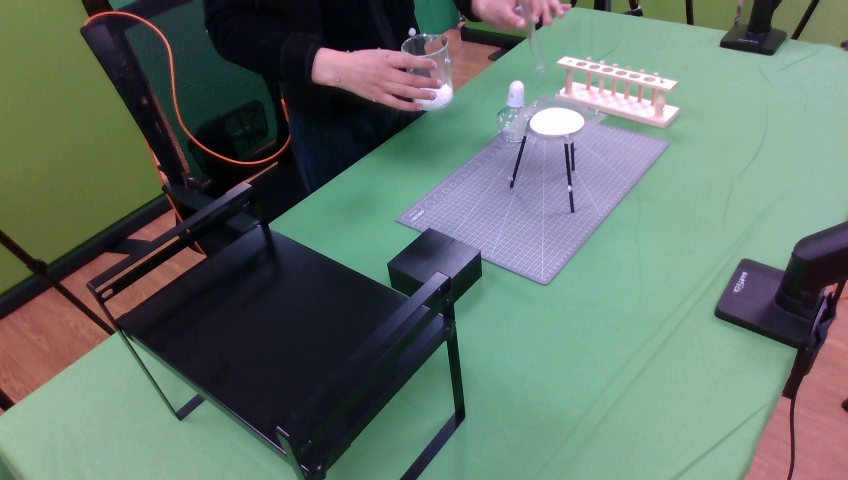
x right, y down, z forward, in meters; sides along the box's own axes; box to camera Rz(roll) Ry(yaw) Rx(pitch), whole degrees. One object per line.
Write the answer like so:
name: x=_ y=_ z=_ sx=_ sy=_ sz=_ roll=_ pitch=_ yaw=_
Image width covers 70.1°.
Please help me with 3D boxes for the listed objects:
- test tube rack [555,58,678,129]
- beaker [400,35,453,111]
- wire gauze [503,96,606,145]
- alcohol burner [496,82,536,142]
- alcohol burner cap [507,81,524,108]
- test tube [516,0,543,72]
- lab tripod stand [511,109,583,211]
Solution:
test tube rack: x=0.389 y=-0.307 z=1.229 sx=0.240 sy=0.085 sz=0.067 roll=25 pitch=50 yaw=33
beaker: x=0.008 y=-0.267 z=0.968 sx=0.074 sy=0.101 sz=0.084 roll=3 pitch=46 yaw=15
wire gauze: x=0.211 y=-0.192 z=0.975 sx=0.120 sy=0.011 sz=0.125 roll=24 pitch=49 yaw=32
alcohol burner: x=0.178 y=-0.250 z=1.168 sx=0.078 sy=0.119 sz=0.077 roll=-5 pitch=42 yaw=5
alcohol burner cap: x=0.174 y=-0.277 z=1.144 sx=0.034 sy=0.048 sz=0.033 roll=0 pitch=39 yaw=1
test tube: x=0.178 y=-0.358 z=1.030 sx=0.017 sy=0.151 sz=0.017 roll=-17 pitch=30 yaw=11
lab tripod stand: x=0.220 y=-0.138 z=1.014 sx=0.148 sy=0.132 sz=0.147 roll=-3 pitch=41 yaw=3
